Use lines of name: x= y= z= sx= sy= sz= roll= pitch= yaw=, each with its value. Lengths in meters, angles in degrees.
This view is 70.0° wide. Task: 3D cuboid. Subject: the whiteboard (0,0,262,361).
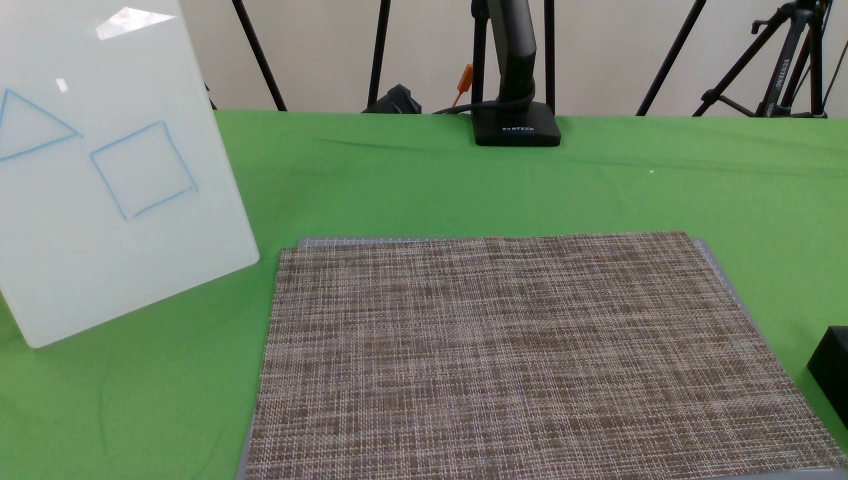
whiteboard: x=-0.321 y=-0.085 z=0.578 sx=0.217 sy=0.307 sz=0.142 roll=-24 pitch=24 yaw=-28
